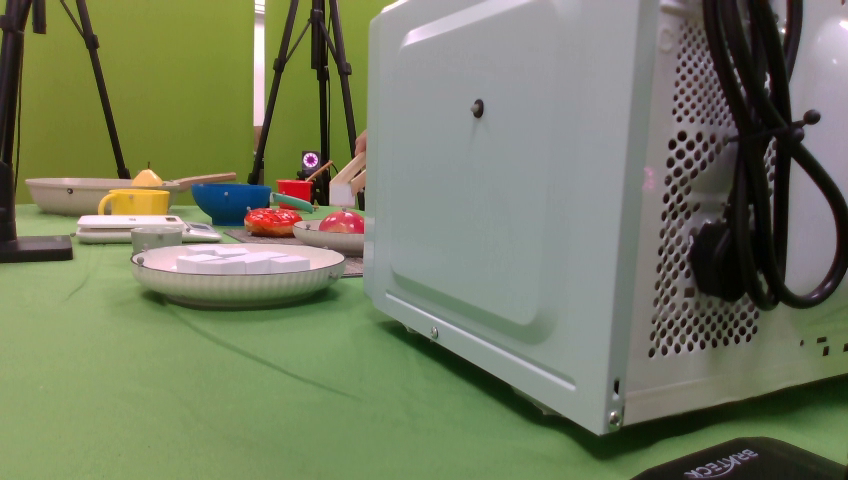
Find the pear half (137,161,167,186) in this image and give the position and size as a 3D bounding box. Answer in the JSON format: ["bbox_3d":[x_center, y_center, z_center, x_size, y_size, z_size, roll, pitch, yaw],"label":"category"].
[{"bbox_3d":[-0.602,-0.120,1.354,0.056,0.110,0.076,4,11,6],"label":"pear half"}]

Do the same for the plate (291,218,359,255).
[{"bbox_3d":[-0.098,-0.007,0.928,0.209,0.038,0.209,2,8,0],"label":"plate"}]

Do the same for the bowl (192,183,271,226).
[{"bbox_3d":[-0.382,-0.071,1.202,0.151,0.077,0.151,3,7,0],"label":"bowl"}]

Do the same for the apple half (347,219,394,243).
[{"bbox_3d":[-0.084,-0.018,0.967,0.081,0.033,0.081,6,11,-1],"label":"apple half"}]

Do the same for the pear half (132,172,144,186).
[{"bbox_3d":[-0.638,-0.113,1.361,0.031,0.088,0.070,5,11,4],"label":"pear half"}]

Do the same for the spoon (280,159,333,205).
[{"bbox_3d":[-0.316,-0.159,1.640,0.194,0.022,0.041,-49,32,-20],"label":"spoon"}]

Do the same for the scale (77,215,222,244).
[{"bbox_3d":[-0.434,-0.019,0.963,0.202,0.031,0.148,-1,9,-27],"label":"scale"}]

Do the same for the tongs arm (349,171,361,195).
[{"bbox_3d":[-0.076,-0.159,1.114,0.050,0.026,0.385,-1,23,20],"label":"tongs arm"}]

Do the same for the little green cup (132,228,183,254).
[{"bbox_3d":[-0.342,0.006,0.779,0.061,0.038,0.061,2,8,0],"label":"little green cup"}]

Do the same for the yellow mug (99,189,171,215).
[{"bbox_3d":[-0.519,-0.055,1.080,0.099,0.064,0.131,7,9,26],"label":"yellow mug"}]

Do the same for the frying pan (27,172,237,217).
[{"bbox_3d":[-0.624,-0.118,1.387,0.305,0.102,0.490,8,17,32],"label":"frying pan"}]

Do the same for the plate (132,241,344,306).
[{"bbox_3d":[-0.187,0.033,0.625,0.208,0.039,0.207,2,8,0],"label":"plate"}]

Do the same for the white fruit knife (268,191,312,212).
[{"bbox_3d":[-0.364,-0.105,1.464,0.208,0.027,0.016,15,0,-34],"label":"white fruit knife"}]

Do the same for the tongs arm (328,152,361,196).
[{"bbox_3d":[-0.099,-0.158,1.120,0.028,0.028,0.388,-7,22,18],"label":"tongs arm"}]

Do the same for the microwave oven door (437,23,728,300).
[{"bbox_3d":[0.180,-0.072,0.621,0.358,0.243,0.039,-2,8,-29],"label":"microwave oven door"}]

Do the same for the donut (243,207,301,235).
[{"bbox_3d":[-0.261,-0.032,1.043,0.099,0.048,0.099,4,9,0],"label":"donut"}]

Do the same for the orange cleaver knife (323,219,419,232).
[{"bbox_3d":[-0.097,-0.027,1.152,0.077,0.012,0.212,0,6,41],"label":"orange cleaver knife"}]

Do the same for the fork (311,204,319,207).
[{"bbox_3d":[-0.356,-0.105,1.526,0.208,0.018,0.028,16,-5,-41],"label":"fork"}]

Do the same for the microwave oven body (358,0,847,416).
[{"bbox_3d":[0.211,-0.047,0.475,0.444,0.260,0.324,-1,7,-28],"label":"microwave oven body"}]

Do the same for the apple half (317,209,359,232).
[{"bbox_3d":[-0.122,-0.020,0.900,0.080,0.053,0.075,4,11,15],"label":"apple half"}]

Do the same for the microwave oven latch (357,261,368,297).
[{"bbox_3d":[-0.019,0.033,0.531,0.079,0.029,0.030,-1,7,-27],"label":"microwave oven latch"}]
